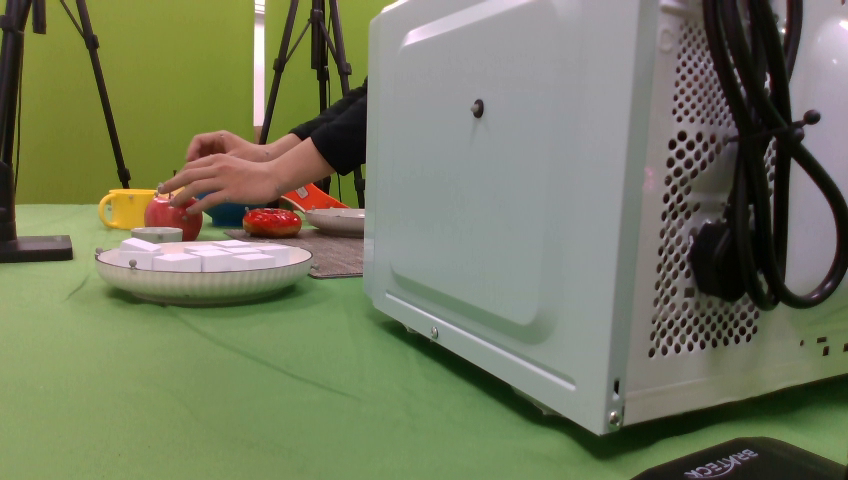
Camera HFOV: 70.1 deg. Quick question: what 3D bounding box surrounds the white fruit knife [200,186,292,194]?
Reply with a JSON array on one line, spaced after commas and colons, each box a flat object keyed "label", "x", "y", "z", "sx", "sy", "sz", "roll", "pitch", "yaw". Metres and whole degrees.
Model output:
[{"label": "white fruit knife", "x": -0.399, "y": -0.111, "z": 1.368, "sx": 0.208, "sy": 0.016, "sz": 0.027, "roll": -4, "pitch": -19, "yaw": -29}]

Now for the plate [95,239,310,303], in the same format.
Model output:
[{"label": "plate", "x": -0.224, "y": 0.031, "z": 0.629, "sx": 0.208, "sy": 0.039, "sz": 0.207, "roll": 2, "pitch": 7, "yaw": 0}]

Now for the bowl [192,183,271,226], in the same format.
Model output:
[{"label": "bowl", "x": -0.382, "y": -0.070, "z": 1.202, "sx": 0.151, "sy": 0.077, "sz": 0.151, "roll": 3, "pitch": 7, "yaw": 0}]

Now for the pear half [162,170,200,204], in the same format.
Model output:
[{"label": "pear half", "x": -0.399, "y": -0.061, "z": 1.002, "sx": 0.056, "sy": 0.110, "sz": 0.076, "roll": 2, "pitch": 11, "yaw": 1}]

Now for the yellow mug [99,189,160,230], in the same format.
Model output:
[{"label": "yellow mug", "x": -0.519, "y": -0.055, "z": 1.081, "sx": 0.099, "sy": 0.064, "sz": 0.131, "roll": 7, "pitch": 10, "yaw": 26}]

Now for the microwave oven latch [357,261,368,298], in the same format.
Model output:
[{"label": "microwave oven latch", "x": -0.019, "y": 0.033, "z": 0.530, "sx": 0.079, "sy": 0.029, "sz": 0.030, "roll": -1, "pitch": 7, "yaw": -26}]

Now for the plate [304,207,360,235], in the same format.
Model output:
[{"label": "plate", "x": -0.123, "y": -0.037, "z": 1.149, "sx": 0.209, "sy": 0.038, "sz": 0.209, "roll": 2, "pitch": 7, "yaw": 0}]

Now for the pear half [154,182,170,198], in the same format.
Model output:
[{"label": "pear half", "x": -0.435, "y": -0.053, "z": 1.006, "sx": 0.031, "sy": 0.088, "sz": 0.070, "roll": 3, "pitch": 12, "yaw": 0}]

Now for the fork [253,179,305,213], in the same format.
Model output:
[{"label": "fork", "x": -0.294, "y": -0.084, "z": 1.293, "sx": 0.206, "sy": 0.018, "sz": 0.028, "roll": 29, "pitch": 13, "yaw": 26}]

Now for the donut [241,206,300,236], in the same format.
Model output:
[{"label": "donut", "x": -0.263, "y": -0.031, "z": 1.039, "sx": 0.099, "sy": 0.048, "sz": 0.099, "roll": 5, "pitch": 10, "yaw": -1}]

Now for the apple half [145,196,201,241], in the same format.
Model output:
[{"label": "apple half", "x": -0.377, "y": -0.027, "z": 0.892, "sx": 0.080, "sy": 0.074, "sz": 0.053, "roll": 8, "pitch": 12, "yaw": 18}]

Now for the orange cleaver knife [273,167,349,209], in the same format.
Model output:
[{"label": "orange cleaver knife", "x": -0.237, "y": -0.087, "z": 1.358, "sx": 0.211, "sy": 0.077, "sz": 0.012, "roll": 32, "pitch": 5, "yaw": -3}]

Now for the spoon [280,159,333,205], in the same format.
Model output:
[{"label": "spoon", "x": -0.316, "y": -0.159, "z": 1.639, "sx": 0.194, "sy": 0.022, "sz": 0.041, "roll": -49, "pitch": 33, "yaw": -20}]

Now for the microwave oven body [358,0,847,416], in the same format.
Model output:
[{"label": "microwave oven body", "x": 0.211, "y": -0.047, "z": 0.474, "sx": 0.444, "sy": 0.260, "sz": 0.324, "roll": -1, "pitch": 7, "yaw": -28}]

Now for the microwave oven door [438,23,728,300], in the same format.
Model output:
[{"label": "microwave oven door", "x": 0.181, "y": -0.073, "z": 0.621, "sx": 0.358, "sy": 0.243, "sz": 0.039, "roll": -2, "pitch": 8, "yaw": -29}]

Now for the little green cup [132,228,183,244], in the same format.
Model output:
[{"label": "little green cup", "x": -0.342, "y": 0.006, "z": 0.779, "sx": 0.061, "sy": 0.038, "sz": 0.061, "roll": 3, "pitch": 8, "yaw": 0}]

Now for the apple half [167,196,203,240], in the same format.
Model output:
[{"label": "apple half", "x": -0.365, "y": -0.033, "z": 0.928, "sx": 0.081, "sy": 0.081, "sz": 0.033, "roll": 5, "pitch": 11, "yaw": 18}]
